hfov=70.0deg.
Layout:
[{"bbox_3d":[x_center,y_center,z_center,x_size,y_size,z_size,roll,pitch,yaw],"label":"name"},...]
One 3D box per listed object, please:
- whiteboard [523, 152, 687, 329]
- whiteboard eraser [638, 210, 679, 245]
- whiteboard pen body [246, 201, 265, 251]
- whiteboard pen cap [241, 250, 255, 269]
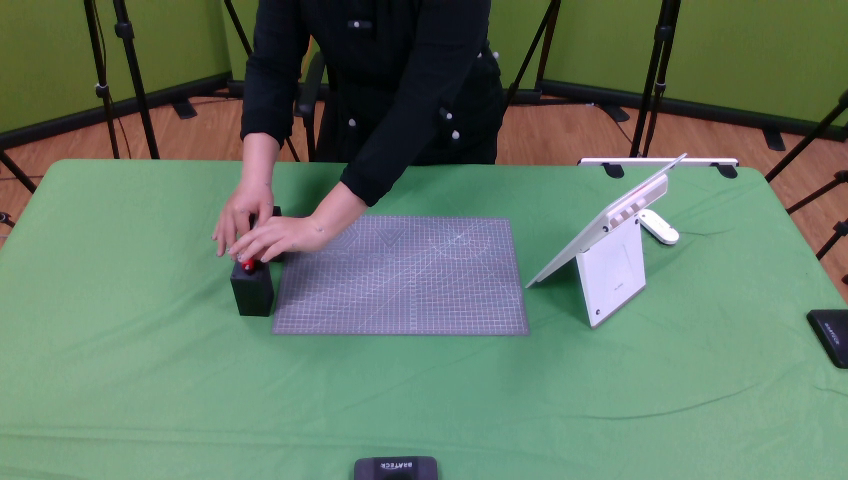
[{"bbox_3d":[0.346,0.025,1.046,0.217,0.306,0.143,-30,74,-29],"label":"whiteboard"},{"bbox_3d":[0.485,-0.027,1.260,0.041,0.019,0.100,-20,50,-22],"label":"whiteboard eraser"},{"bbox_3d":[-0.297,-0.018,1.059,0.017,0.017,0.139,1,45,-3],"label":"whiteboard pen body"},{"bbox_3d":[-0.292,0.032,1.008,0.017,0.017,0.032,5,42,1],"label":"whiteboard pen cap"}]
